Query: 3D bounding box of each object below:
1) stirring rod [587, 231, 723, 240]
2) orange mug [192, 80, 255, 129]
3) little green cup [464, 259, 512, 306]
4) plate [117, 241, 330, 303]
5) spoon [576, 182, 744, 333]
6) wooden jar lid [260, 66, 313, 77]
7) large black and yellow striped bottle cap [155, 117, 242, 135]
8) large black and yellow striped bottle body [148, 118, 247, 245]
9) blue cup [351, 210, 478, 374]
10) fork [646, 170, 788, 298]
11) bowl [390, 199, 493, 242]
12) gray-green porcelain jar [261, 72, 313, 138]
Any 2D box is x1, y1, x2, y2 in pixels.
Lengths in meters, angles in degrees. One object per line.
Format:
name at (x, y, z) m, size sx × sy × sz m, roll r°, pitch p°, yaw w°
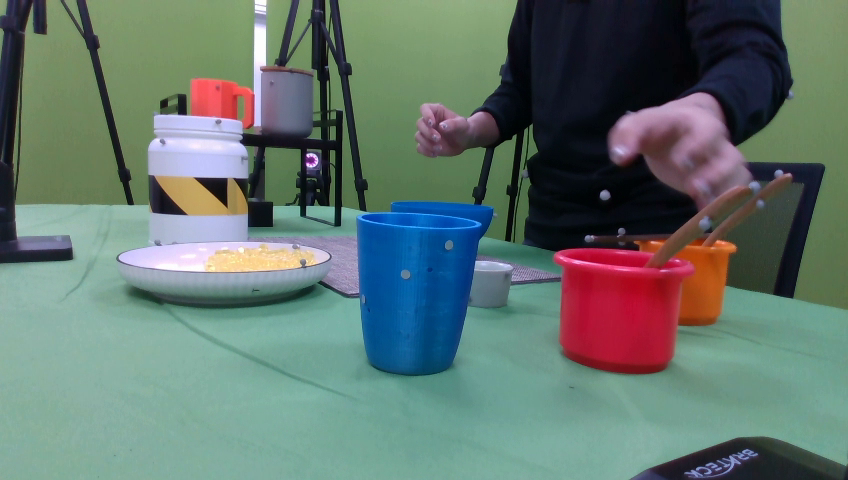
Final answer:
stirring rod at (0.227, -0.005, 0.585) m, size 0.177 × 0.006 × 0.014 m, roll -1°, pitch 6°, yaw -28°
orange mug at (-0.389, -0.257, 1.172) m, size 0.126 × 0.100 × 0.083 m, roll -1°, pitch 6°, yaw 9°
little green cup at (0.057, 0.043, 0.612) m, size 0.061 × 0.038 × 0.061 m, roll 3°, pitch 8°, yaw 0°
plate at (-0.203, 0.031, 0.630) m, size 0.209 × 0.038 × 0.209 m, roll 3°, pitch 7°, yaw 0°
spoon at (0.152, 0.020, 0.410) m, size 0.042 × 0.021 × 0.193 m, roll -1°, pitch -36°, yaw -13°
wooden jar lid at (-0.283, -0.339, 1.244) m, size 0.108 × 0.020 × 0.108 m, roll 6°, pitch 8°, yaw -1°
large black and yellow striped bottle cap at (-0.313, -0.159, 0.845) m, size 0.115 × 0.019 × 0.115 m, roll 3°, pitch 9°, yaw 0°
large black and yellow striped bottle body at (-0.318, -0.076, 0.855) m, size 0.131 × 0.184 × 0.130 m, roll 2°, pitch 7°, yaw 0°
blue cup at (-0.009, 0.034, 0.414) m, size 0.093 × 0.100 × 0.092 m, roll 4°, pitch 8°, yaw 0°
fork at (0.256, 0.004, 0.543) m, size 0.028 × 0.018 × 0.207 m, roll 4°, pitch -37°, yaw -9°
bowl at (0.023, -0.016, 0.874) m, size 0.151 × 0.077 × 0.151 m, roll 2°, pitch 8°, yaw 0°
gray-green porcelain jar at (-0.284, -0.277, 1.253) m, size 0.106 × 0.126 × 0.106 m, roll 2°, pitch 8°, yaw 0°
